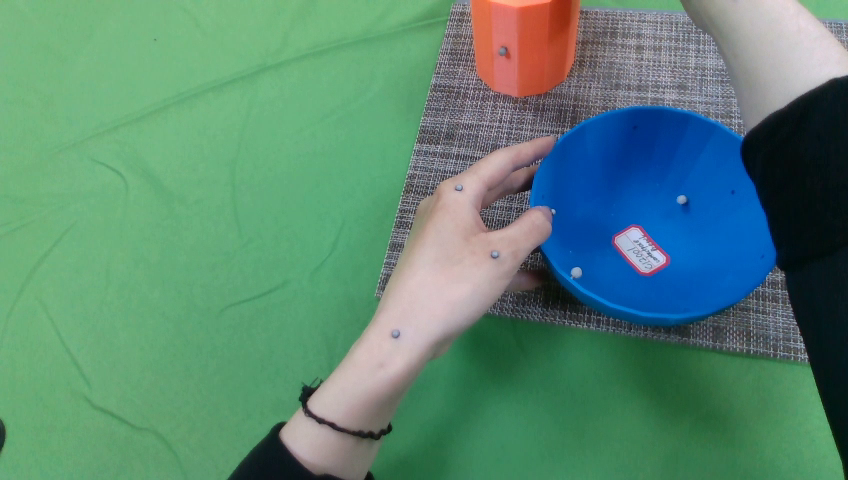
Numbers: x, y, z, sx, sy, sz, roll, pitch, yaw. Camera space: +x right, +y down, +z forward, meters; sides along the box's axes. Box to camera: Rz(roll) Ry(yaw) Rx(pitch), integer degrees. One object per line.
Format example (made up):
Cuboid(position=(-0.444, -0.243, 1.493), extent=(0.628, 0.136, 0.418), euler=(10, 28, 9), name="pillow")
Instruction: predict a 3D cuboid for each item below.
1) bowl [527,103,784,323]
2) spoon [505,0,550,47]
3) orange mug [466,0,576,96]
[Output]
Cuboid(position=(0.144, -0.007, 0.403), extent=(0.151, 0.077, 0.150), euler=(-3, 63, 7), name="bowl")
Cuboid(position=(0.101, -0.206, 0.434), extent=(0.022, 0.194, 0.041), euler=(13, 67, -8), name="spoon")
Cuboid(position=(0.085, -0.198, 0.496), extent=(0.083, 0.101, 0.125), euler=(18, 73, 18), name="orange mug")
